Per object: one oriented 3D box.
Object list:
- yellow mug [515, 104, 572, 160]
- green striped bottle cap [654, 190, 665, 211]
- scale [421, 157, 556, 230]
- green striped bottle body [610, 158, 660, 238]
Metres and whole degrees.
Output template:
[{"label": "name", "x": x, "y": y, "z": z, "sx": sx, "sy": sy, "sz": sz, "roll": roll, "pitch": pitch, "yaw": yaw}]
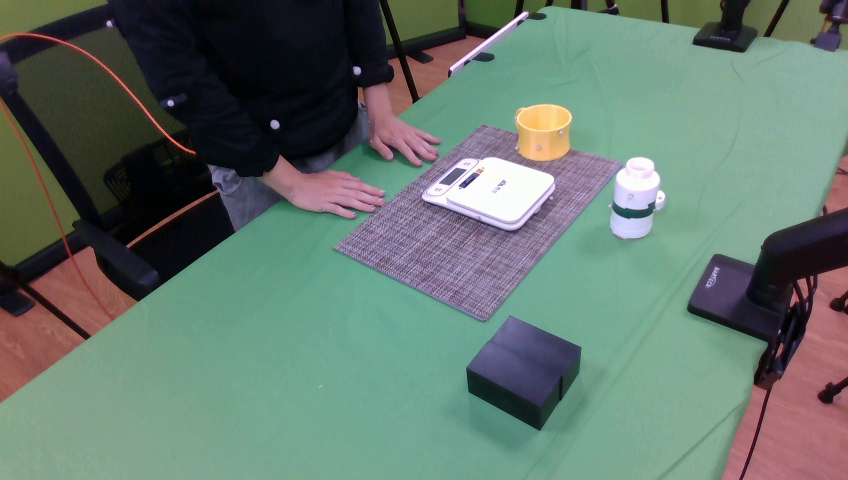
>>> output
[{"label": "yellow mug", "x": 0.216, "y": -0.211, "z": 1.143, "sx": 0.100, "sy": 0.064, "sz": 0.129, "roll": -27, "pitch": 44, "yaw": -22}, {"label": "green striped bottle cap", "x": 0.375, "y": -0.066, "z": 0.998, "sx": 0.044, "sy": 0.020, "sz": 0.044, "roll": -8, "pitch": 38, "yaw": 7}, {"label": "scale", "x": 0.110, "y": -0.089, "z": 1.042, "sx": 0.199, "sy": 0.032, "sz": 0.149, "roll": 23, "pitch": 48, "yaw": 31}, {"label": "green striped bottle body", "x": 0.323, "y": -0.066, "z": 0.923, "sx": 0.063, "sy": 0.120, "sz": 0.063, "roll": -4, "pitch": 41, "yaw": 4}]
